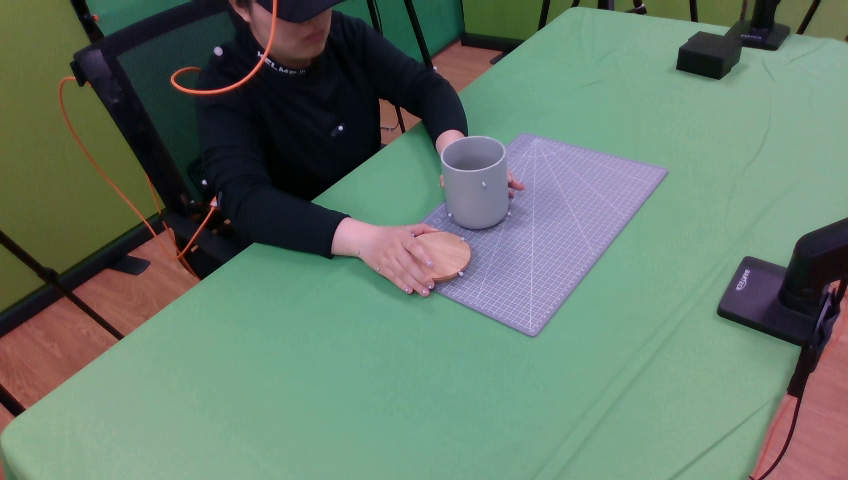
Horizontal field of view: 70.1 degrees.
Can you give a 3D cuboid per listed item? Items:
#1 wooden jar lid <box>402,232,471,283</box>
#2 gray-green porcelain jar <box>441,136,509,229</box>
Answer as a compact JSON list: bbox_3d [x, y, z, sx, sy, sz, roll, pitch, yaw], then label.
[{"bbox_3d":[0.020,0.029,0.940,0.108,0.021,0.108,-2,41,2],"label":"wooden jar lid"},{"bbox_3d":[0.086,-0.090,0.988,0.106,0.127,0.105,-5,40,5],"label":"gray-green porcelain jar"}]
